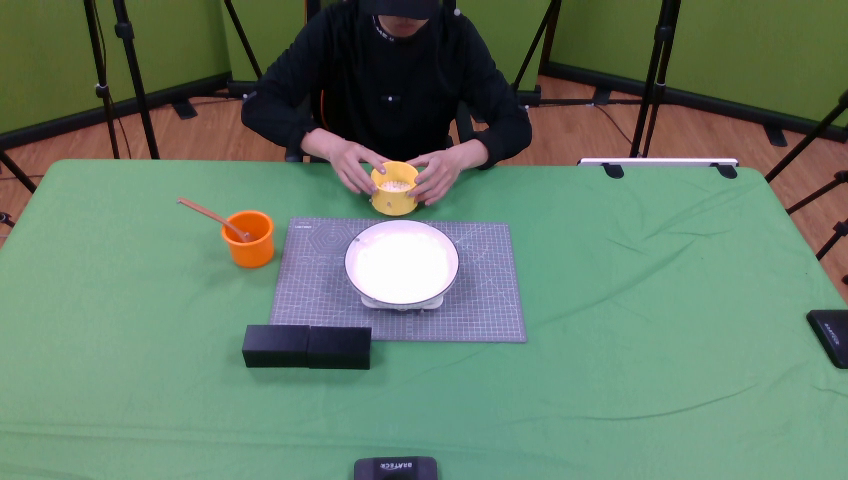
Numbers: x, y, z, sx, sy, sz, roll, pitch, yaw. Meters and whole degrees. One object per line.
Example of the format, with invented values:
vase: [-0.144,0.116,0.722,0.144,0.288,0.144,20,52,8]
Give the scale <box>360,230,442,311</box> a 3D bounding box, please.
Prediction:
scale: [-0.042,0.047,1.138,0.149,0.032,0.199,2,46,-3]

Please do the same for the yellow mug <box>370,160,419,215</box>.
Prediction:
yellow mug: [-0.071,-0.118,1.256,0.100,0.064,0.130,-29,56,-27]

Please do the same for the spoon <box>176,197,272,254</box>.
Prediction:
spoon: [-0.363,-0.028,1.108,0.021,0.195,0.041,-35,36,24]

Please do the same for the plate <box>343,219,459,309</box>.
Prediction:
plate: [-0.041,0.046,1.094,0.209,0.038,0.208,2,46,-2]
